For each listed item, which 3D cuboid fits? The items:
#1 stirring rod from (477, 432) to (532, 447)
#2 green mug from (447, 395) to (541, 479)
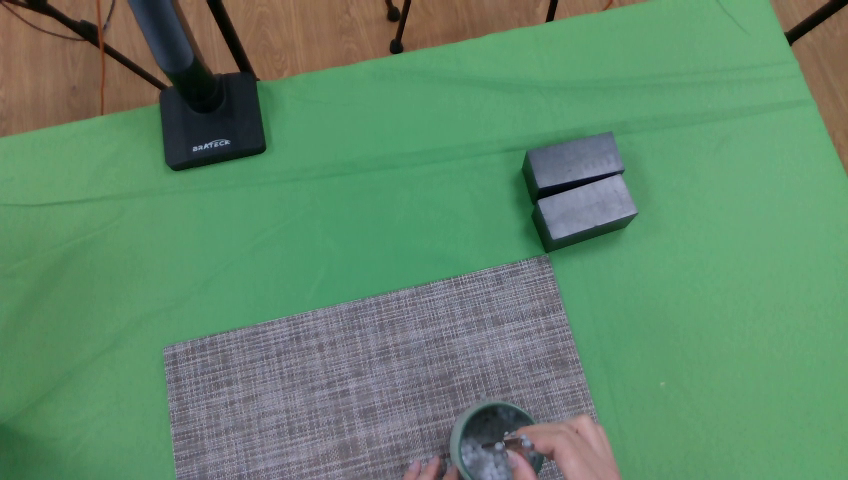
[{"bbox_3d":[0.064,0.168,0.508,0.014,0.177,0.006,19,70,3],"label":"stirring rod"},{"bbox_3d":[0.077,0.211,0.590,0.092,0.105,0.124,-30,74,-7],"label":"green mug"}]
